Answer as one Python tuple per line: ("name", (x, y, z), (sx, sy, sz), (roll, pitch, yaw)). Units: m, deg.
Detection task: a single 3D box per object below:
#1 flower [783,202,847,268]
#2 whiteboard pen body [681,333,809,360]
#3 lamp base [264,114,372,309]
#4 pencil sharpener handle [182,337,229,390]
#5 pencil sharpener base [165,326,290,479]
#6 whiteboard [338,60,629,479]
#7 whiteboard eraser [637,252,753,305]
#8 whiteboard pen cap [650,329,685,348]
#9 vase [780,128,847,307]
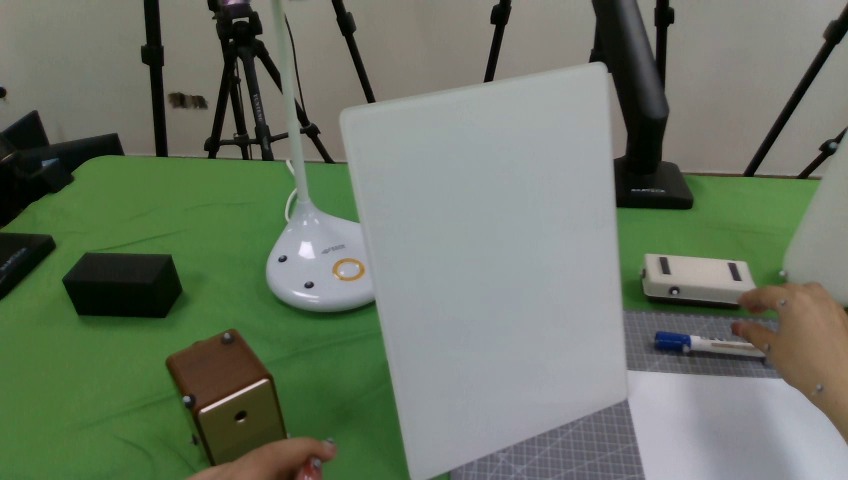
("flower", (0.458, -0.086, 0.572), (0.044, 0.364, 0.038), (-10, 53, -23))
("whiteboard pen body", (0.305, 0.104, 0.600), (0.140, 0.017, 0.017), (5, 35, 7))
("lamp base", (-0.118, -0.041, 0.684), (0.161, 0.182, 0.177), (-28, 41, -33))
("pencil sharpener handle", (-0.189, 0.102, 0.523), (0.036, 0.068, 0.030), (-31, 44, -23))
("pencil sharpener base", (-0.160, 0.135, 0.495), (0.061, 0.108, 0.076), (-24, 41, -29))
("whiteboard", (0.042, 0.016, 0.538), (0.218, 0.307, 0.142), (-15, 18, -17))
("whiteboard eraser", (0.297, 0.045, 0.672), (0.112, 0.042, 0.055), (4, 34, 8))
("whiteboard pen cap", (0.247, 0.100, 0.610), (0.033, 0.018, 0.018), (7, 36, 7))
("vase", (0.451, -0.027, 0.632), (0.098, 0.201, 0.097), (0, 35, 0))
